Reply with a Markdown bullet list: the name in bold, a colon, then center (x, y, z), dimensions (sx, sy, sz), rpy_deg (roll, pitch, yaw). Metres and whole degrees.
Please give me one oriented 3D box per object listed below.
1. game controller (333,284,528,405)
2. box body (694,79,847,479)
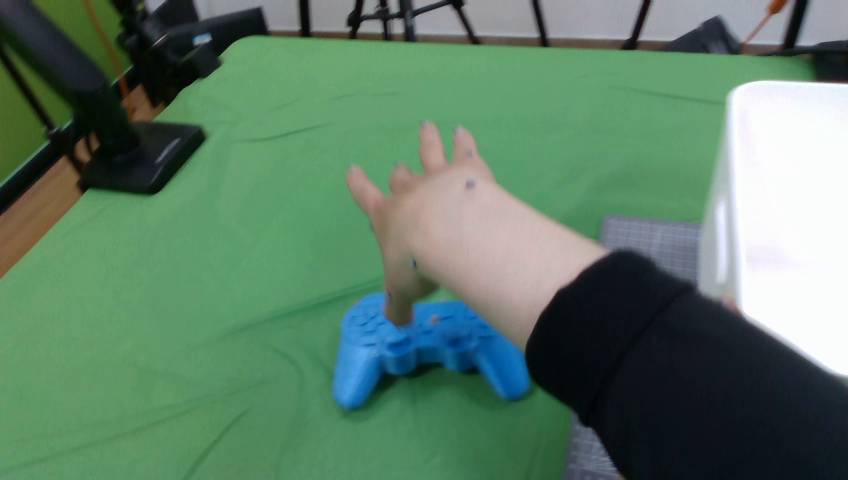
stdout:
- **game controller**: center (0.003, 0.080, 0.493), dimensions (0.155, 0.052, 0.096), rpy_deg (-4, 42, 5)
- **box body**: center (0.369, 0.040, 0.382), dimensions (0.363, 0.162, 0.252), rpy_deg (6, 48, 16)
